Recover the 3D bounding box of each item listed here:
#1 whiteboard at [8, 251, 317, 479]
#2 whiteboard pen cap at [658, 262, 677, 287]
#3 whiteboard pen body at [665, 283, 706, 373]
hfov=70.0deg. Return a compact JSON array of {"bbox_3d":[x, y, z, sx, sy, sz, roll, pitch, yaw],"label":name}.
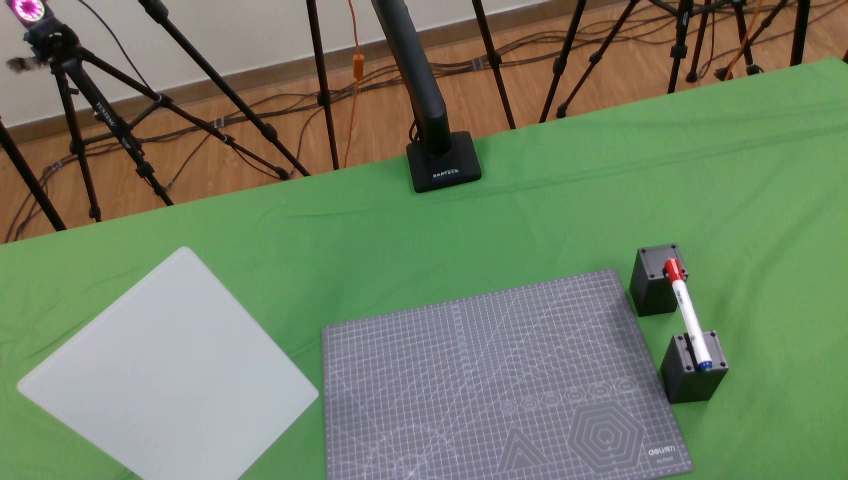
[{"bbox_3d":[-0.323,0.173,0.772,0.217,0.309,0.142,-45,39,-20],"label":"whiteboard"},{"bbox_3d":[0.308,0.045,0.765,0.017,0.017,0.032,-6,55,6],"label":"whiteboard pen cap"},{"bbox_3d":[0.311,0.095,0.730,0.017,0.017,0.139,-8,53,5],"label":"whiteboard pen body"}]
